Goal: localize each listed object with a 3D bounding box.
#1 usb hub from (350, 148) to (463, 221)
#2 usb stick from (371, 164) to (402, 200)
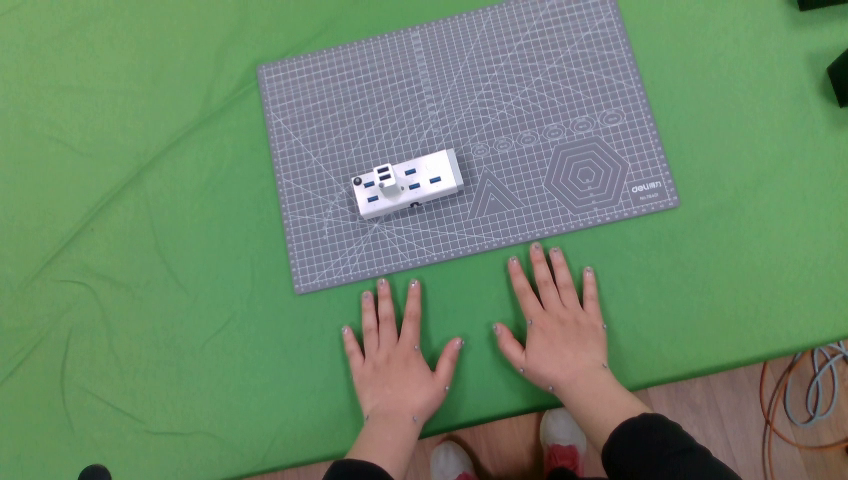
[{"bbox_3d":[-0.021,-0.065,0.705,0.125,0.025,0.049,-17,76,3],"label":"usb hub"},{"bbox_3d":[-0.040,-0.062,0.677,0.021,0.059,0.027,-21,74,4],"label":"usb stick"}]
